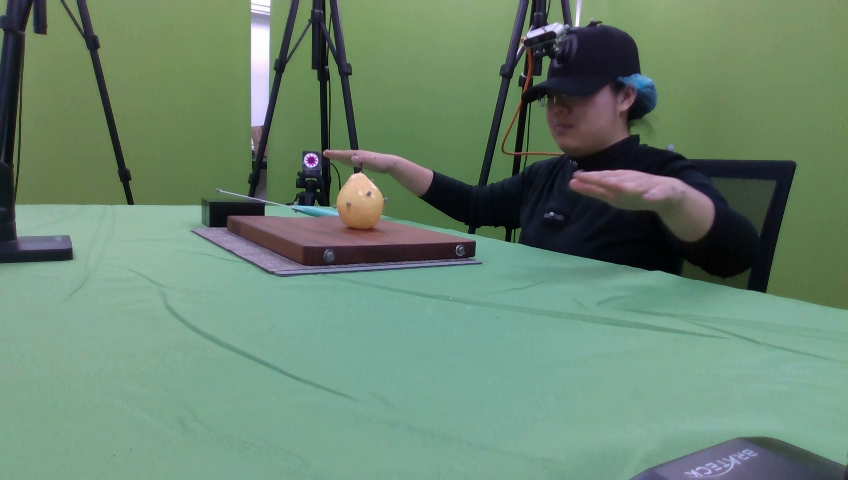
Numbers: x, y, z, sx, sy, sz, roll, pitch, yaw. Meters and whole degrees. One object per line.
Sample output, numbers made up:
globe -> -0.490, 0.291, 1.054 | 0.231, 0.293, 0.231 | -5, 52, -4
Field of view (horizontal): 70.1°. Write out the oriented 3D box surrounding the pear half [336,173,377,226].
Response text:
pear half -> -0.116, -0.067, 1.004 | 0.071, 0.088, 0.031 | -11, 13, -31

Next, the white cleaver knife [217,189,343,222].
white cleaver knife -> -0.275, -0.066, 1.233 | 0.288, 0.021, 0.065 | 11, 6, -29

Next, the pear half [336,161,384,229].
pear half -> -0.099, -0.072, 0.972 | 0.077, 0.110, 0.055 | -7, 11, -31
